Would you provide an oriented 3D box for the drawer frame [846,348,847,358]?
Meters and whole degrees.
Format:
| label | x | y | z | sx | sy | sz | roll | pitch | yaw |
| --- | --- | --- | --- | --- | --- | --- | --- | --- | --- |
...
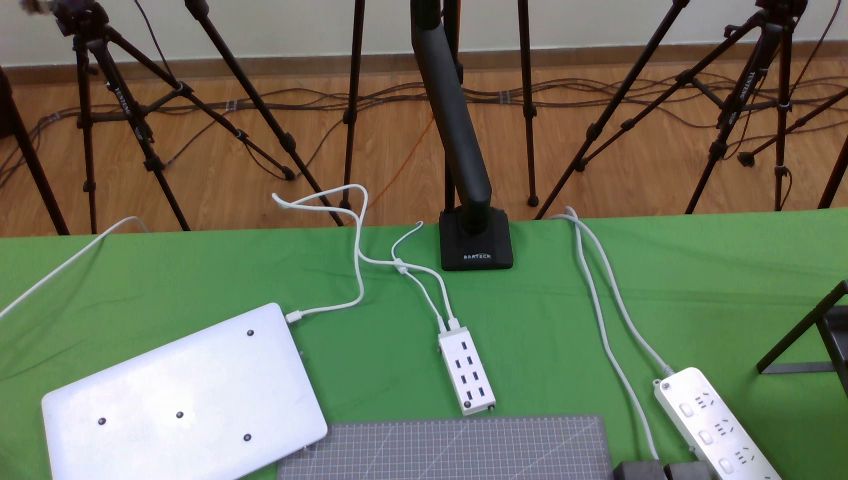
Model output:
| label | x | y | z | sx | sy | sz | roll | pitch | yaw |
| --- | --- | --- | --- | --- | --- | --- | --- | --- | --- |
| drawer frame | 0.600 | 0.186 | 0.631 | 0.214 | 0.083 | 0.199 | -2 | 55 | -2 |

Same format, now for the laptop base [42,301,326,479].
| label | x | y | z | sx | sy | sz | roll | pitch | yaw |
| --- | --- | --- | --- | --- | --- | --- | --- | --- | --- |
| laptop base | -0.340 | 0.246 | 0.859 | 0.355 | 0.023 | 0.233 | -23 | 61 | -14 |

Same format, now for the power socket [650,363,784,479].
| label | x | y | z | sx | sy | sz | roll | pitch | yaw |
| --- | --- | --- | --- | --- | --- | --- | --- | --- | --- |
| power socket | 0.399 | 0.269 | 0.825 | 0.072 | 0.033 | 0.224 | -20 | 57 | -14 |

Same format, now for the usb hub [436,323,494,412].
| label | x | y | z | sx | sy | sz | roll | pitch | yaw |
| --- | --- | --- | --- | --- | --- | --- | --- | --- | --- |
| usb hub | 0.058 | 0.186 | 0.890 | 0.049 | 0.025 | 0.124 | -15 | 56 | -9 |

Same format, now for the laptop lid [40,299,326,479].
| label | x | y | z | sx | sy | sz | roll | pitch | yaw |
| --- | --- | --- | --- | --- | --- | --- | --- | --- | --- |
| laptop lid | -0.339 | 0.240 | 0.847 | 0.357 | 0.013 | 0.239 | -21 | 59 | -13 |
